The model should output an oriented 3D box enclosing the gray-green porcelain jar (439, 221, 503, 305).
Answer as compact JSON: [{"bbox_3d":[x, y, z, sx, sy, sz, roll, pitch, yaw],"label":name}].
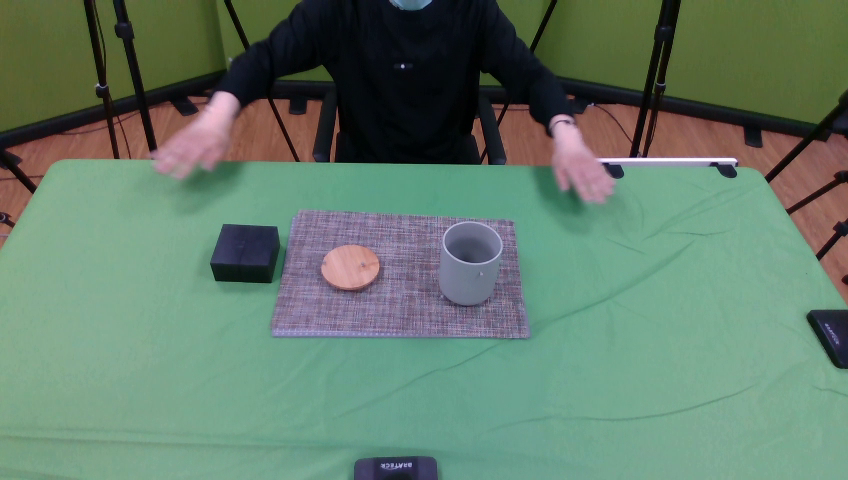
[{"bbox_3d":[0.080,0.046,1.078,0.106,0.127,0.105,2,46,-2],"label":"gray-green porcelain jar"}]

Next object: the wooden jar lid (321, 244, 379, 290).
[{"bbox_3d":[-0.137,0.053,1.131,0.108,0.021,0.107,1,45,-1],"label":"wooden jar lid"}]
